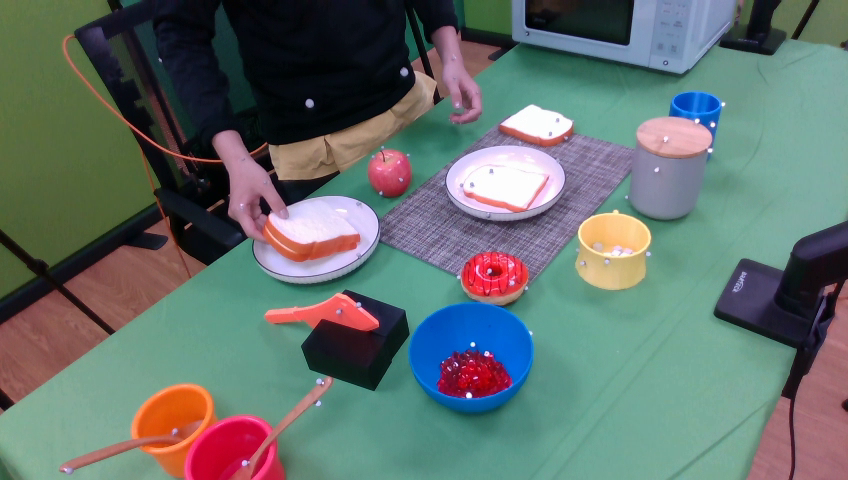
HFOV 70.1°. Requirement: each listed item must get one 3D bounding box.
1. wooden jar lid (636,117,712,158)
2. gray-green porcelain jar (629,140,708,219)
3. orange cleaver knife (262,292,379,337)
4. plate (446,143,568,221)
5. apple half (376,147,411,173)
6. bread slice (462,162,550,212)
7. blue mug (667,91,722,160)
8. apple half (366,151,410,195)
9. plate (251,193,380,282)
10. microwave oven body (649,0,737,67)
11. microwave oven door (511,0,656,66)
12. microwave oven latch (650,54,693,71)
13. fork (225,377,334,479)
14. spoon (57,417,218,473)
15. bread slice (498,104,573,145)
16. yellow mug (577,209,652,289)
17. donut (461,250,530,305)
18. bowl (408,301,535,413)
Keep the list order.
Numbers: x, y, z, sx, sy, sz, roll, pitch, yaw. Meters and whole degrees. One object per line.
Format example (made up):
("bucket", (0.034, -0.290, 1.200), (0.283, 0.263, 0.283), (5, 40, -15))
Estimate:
("wooden jar lid", (0.377, -0.151, 0.917), (0.108, 0.021, 0.108), (-2, 42, 3))
("gray-green porcelain jar", (0.383, -0.105, 0.958), (0.106, 0.127, 0.105), (-4, 41, 4))
("orange cleaver knife", (-0.145, 0.107, 0.821), (0.210, 0.077, 0.012), (-13, 36, 43))
("plate", (0.142, -0.097, 1.045), (0.207, 0.039, 0.206), (-4, 40, 4))
("apple half", (-0.052, -0.139, 1.100), (0.081, 0.081, 0.033), (17, 51, 25))
("bread slice", (0.135, -0.094, 1.045), (0.133, 0.018, 0.107), (15, 45, 23))
("blue mug", (0.474, -0.207, 1.079), (0.082, 0.106, 0.116), (4, 42, 13))
("apple half", (-0.070, -0.114, 1.075), (0.080, 0.075, 0.053), (17, 51, 23))
("plate", (-0.173, -0.001, 0.984), (0.209, 0.038, 0.208), (-3, 41, 3))
("microwave oven body", (0.475, -0.602, 1.411), (0.438, 0.261, 0.327), (23, 50, 32))
("microwave oven door", (0.351, -0.540, 1.349), (0.353, 0.245, 0.039), (24, 50, 31))
("microwave oven latch", (0.531, -0.386, 1.301), (0.078, 0.029, 0.030), (26, 51, 33))
("fork", (-0.163, 0.216, 0.646), (0.207, 0.019, 0.028), (-49, 42, 16))
("spoon", (-0.304, 0.221, 0.661), (0.041, 0.195, 0.021), (19, 92, 27))
("bread slice", (0.231, -0.232, 1.205), (0.105, 0.019, 0.130), (-36, 47, -29))
("yellow mug", (0.279, 0.004, 0.893), (0.099, 0.064, 0.130), (5, 41, 14))
("donut", (0.103, 0.053, 0.872), (0.099, 0.048, 0.098), (-4, 40, 4))
("bowl", (0.060, 0.156, 0.739), (0.151, 0.077, 0.150), (-4, 40, 4))
